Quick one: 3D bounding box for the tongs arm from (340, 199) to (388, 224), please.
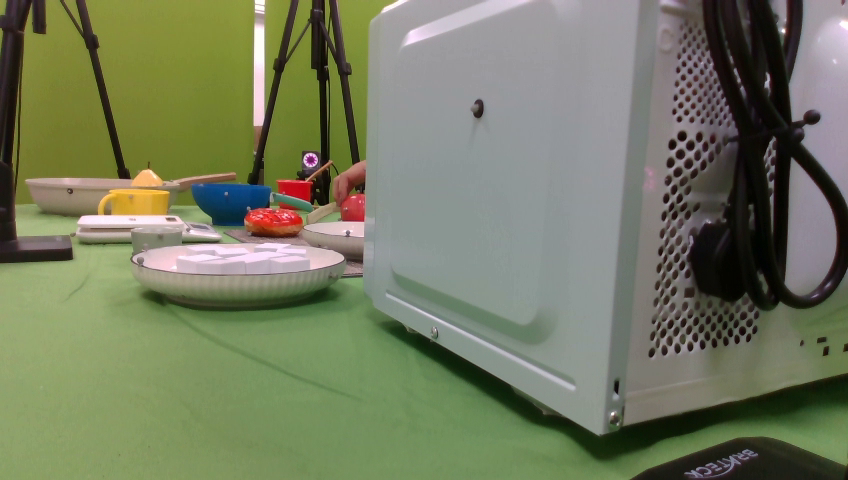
[{"bbox_3d":[-0.149,-0.071,1.429,0.051,0.026,0.383,-4,9,-15],"label":"tongs arm"}]

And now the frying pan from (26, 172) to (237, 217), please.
[{"bbox_3d":[-0.624,-0.118,1.387,0.305,0.102,0.490,8,17,32],"label":"frying pan"}]

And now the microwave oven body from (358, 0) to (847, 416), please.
[{"bbox_3d":[0.211,-0.047,0.474,0.444,0.260,0.324,-1,7,-28],"label":"microwave oven body"}]

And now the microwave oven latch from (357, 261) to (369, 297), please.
[{"bbox_3d":[-0.019,0.033,0.530,0.079,0.029,0.030,-1,7,-26],"label":"microwave oven latch"}]

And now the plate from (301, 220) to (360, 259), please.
[{"bbox_3d":[-0.077,-0.002,0.894,0.209,0.038,0.209,3,8,0],"label":"plate"}]

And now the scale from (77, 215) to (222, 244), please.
[{"bbox_3d":[-0.434,-0.019,0.963,0.202,0.031,0.148,-1,9,-27],"label":"scale"}]

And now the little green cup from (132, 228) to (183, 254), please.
[{"bbox_3d":[-0.342,0.006,0.779,0.061,0.038,0.061,2,8,0],"label":"little green cup"}]

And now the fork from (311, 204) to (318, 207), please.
[{"bbox_3d":[-0.356,-0.105,1.526,0.208,0.018,0.028,16,-6,-41],"label":"fork"}]

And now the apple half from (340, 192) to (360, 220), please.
[{"bbox_3d":[-0.132,-0.054,1.143,0.053,0.074,0.081,-2,11,9],"label":"apple half"}]

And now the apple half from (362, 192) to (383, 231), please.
[{"bbox_3d":[-0.093,-0.055,1.136,0.033,0.081,0.081,-3,7,9],"label":"apple half"}]

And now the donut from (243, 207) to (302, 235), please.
[{"bbox_3d":[-0.261,-0.032,1.043,0.099,0.048,0.099,4,9,0],"label":"donut"}]

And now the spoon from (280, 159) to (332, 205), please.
[{"bbox_3d":[-0.316,-0.159,1.640,0.194,0.022,0.041,-50,31,-20],"label":"spoon"}]

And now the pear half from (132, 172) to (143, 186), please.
[{"bbox_3d":[-0.638,-0.113,1.361,0.031,0.088,0.070,5,10,4],"label":"pear half"}]

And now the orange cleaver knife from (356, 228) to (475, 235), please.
[{"bbox_3d":[-0.017,-0.015,1.080,0.211,0.012,0.077,0,2,-2],"label":"orange cleaver knife"}]

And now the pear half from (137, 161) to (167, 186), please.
[{"bbox_3d":[-0.602,-0.120,1.354,0.056,0.110,0.076,4,11,6],"label":"pear half"}]

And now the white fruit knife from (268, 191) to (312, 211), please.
[{"bbox_3d":[-0.364,-0.105,1.464,0.208,0.027,0.016,15,0,-34],"label":"white fruit knife"}]

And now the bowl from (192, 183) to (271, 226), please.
[{"bbox_3d":[-0.382,-0.071,1.202,0.151,0.077,0.151,3,7,0],"label":"bowl"}]

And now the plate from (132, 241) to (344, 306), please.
[{"bbox_3d":[-0.187,0.033,0.625,0.208,0.039,0.207,2,7,0],"label":"plate"}]

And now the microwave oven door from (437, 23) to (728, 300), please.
[{"bbox_3d":[0.181,-0.072,0.621,0.358,0.243,0.039,-2,9,-29],"label":"microwave oven door"}]

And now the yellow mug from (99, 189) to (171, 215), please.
[{"bbox_3d":[-0.518,-0.055,1.080,0.099,0.064,0.131,6,9,26],"label":"yellow mug"}]

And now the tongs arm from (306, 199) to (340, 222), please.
[{"bbox_3d":[-0.235,-0.070,1.413,0.028,0.028,0.387,-5,8,0],"label":"tongs arm"}]
